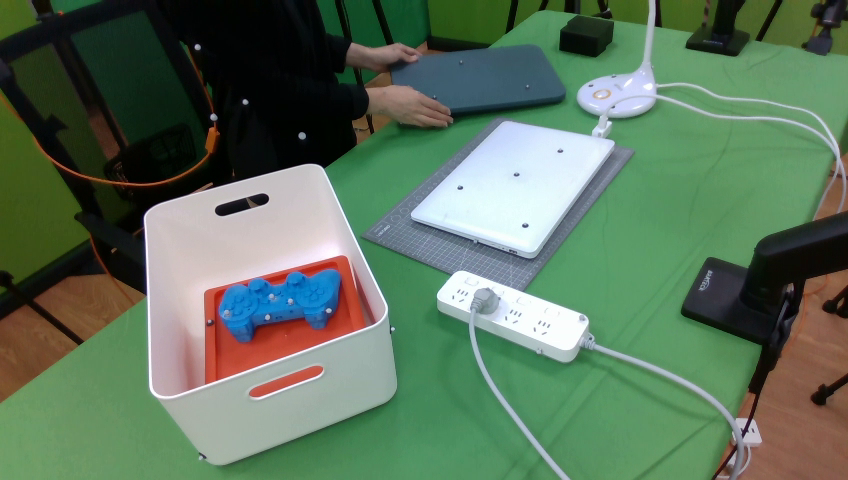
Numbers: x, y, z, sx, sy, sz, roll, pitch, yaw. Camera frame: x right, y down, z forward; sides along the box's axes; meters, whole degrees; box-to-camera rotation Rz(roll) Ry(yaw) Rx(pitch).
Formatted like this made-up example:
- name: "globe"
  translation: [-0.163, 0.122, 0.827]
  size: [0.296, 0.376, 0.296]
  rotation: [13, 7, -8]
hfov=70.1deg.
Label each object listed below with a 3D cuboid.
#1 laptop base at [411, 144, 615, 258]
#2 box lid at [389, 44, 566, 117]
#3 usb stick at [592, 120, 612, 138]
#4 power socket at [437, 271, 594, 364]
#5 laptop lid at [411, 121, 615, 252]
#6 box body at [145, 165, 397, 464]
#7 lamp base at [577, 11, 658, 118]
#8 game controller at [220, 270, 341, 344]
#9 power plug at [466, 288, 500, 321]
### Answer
- name: "laptop base"
  translation: [0.167, -0.102, 1.074]
  size: [0.234, 0.023, 0.355]
  rotation: [16, 45, 30]
- name: "box lid"
  translation: [0.113, -0.363, 1.360]
  size: [0.372, 0.015, 0.261]
  rotation: [-7, 43, -4]
- name: "usb stick"
  translation: [0.335, -0.203, 1.149]
  size: [0.021, 0.027, 0.059]
  rotation: [25, 53, 26]
- name: "power socket"
  translation: [0.118, 0.102, 0.830]
  size: [0.225, 0.033, 0.072]
  rotation: [20, 48, 28]
- name: "laptop lid"
  translation: [0.164, -0.112, 1.068]
  size: [0.240, 0.013, 0.357]
  rotation: [19, 46, 31]
- name: "box body"
  translation: [-0.205, 0.080, 0.802]
  size: [0.255, 0.161, 0.361]
  rotation: [-18, 41, -13]
- name: "lamp base"
  translation: [0.406, -0.363, 1.223]
  size: [0.180, 0.181, 0.159]
  rotation: [-20, 42, -18]
- name: "game controller"
  translation: [-0.186, 0.076, 0.778]
  size: [0.155, 0.052, 0.096]
  rotation: [-9, 45, -2]
- name: "power plug"
  translation: [0.072, 0.093, 0.813]
  size: [0.035, 0.053, 0.073]
  rotation: [30, 54, 35]
